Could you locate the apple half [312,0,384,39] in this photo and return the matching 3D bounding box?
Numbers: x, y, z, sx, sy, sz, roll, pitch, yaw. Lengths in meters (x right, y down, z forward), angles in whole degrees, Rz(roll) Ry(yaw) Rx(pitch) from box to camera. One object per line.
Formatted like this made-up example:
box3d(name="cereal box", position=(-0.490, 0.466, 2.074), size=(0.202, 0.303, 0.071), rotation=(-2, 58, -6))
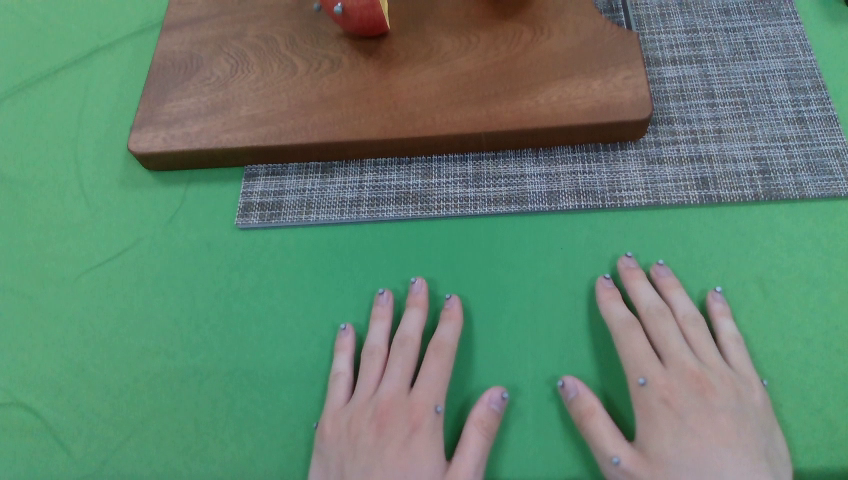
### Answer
box3d(name="apple half", position=(-0.064, -0.200, 0.479), size=(0.053, 0.075, 0.080), rotation=(-11, 65, 6))
